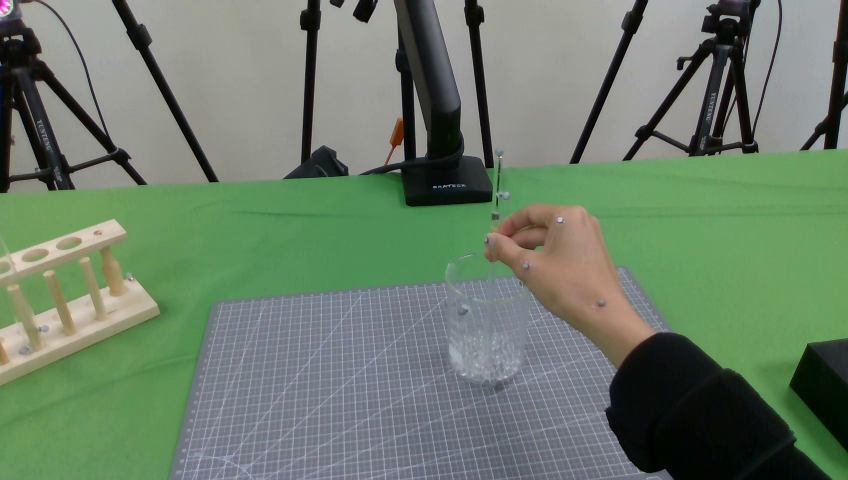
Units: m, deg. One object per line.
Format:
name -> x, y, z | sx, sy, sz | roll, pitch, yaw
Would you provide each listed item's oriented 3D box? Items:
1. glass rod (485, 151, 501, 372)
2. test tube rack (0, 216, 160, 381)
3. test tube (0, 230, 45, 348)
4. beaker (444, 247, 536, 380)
glass rod -> 0.056, 0.025, 0.494 | 0.008, 0.201, 0.008 | 0, 25, 1
test tube rack -> -0.380, 0.068, 0.545 | 0.242, 0.086, 0.066 | -27, 42, -34
test tube -> -0.354, 0.032, 0.516 | 0.017, 0.151, 0.017 | 2, 33, -1
beaker -> 0.052, 0.066, 0.532 | 0.083, 0.101, 0.074 | 27, 42, 35
